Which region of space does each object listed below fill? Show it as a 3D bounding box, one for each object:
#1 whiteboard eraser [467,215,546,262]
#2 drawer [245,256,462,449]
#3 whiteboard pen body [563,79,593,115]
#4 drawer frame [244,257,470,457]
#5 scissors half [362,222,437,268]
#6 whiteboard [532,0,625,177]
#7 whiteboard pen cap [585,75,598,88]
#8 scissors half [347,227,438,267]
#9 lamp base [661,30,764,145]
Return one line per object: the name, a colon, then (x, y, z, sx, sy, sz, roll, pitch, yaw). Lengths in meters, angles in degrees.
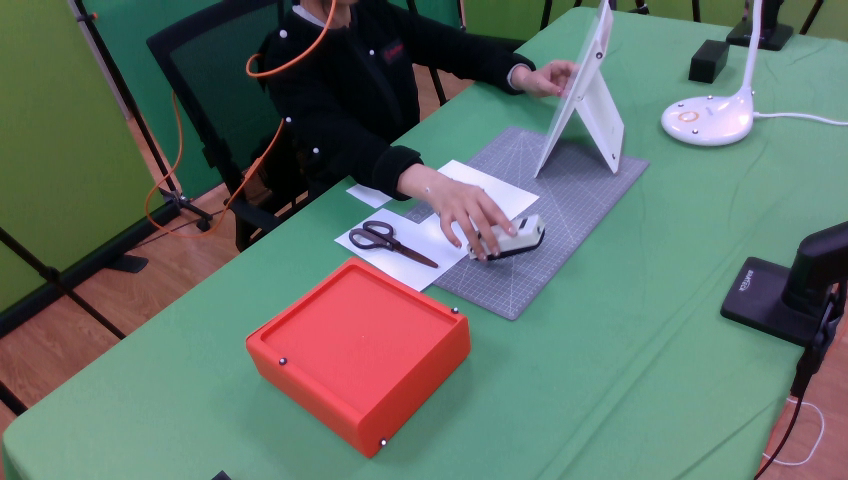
whiteboard eraser: (0.122, 0.001, 0.893, 0.112, 0.042, 0.055, -14, 29, 31)
drawer: (-0.089, 0.136, 0.792, 0.210, 0.073, 0.195, 27, 51, 34)
whiteboard pen body: (0.328, -0.306, 1.278, 0.017, 0.017, 0.141, 20, 51, 30)
drawer frame: (-0.084, 0.138, 0.788, 0.212, 0.083, 0.202, 25, 50, 33)
scissors half: (-0.040, 0.008, 0.989, 0.040, 0.013, 0.173, -19, 38, -37)
whiteboard: (0.320, -0.258, 1.050, 0.144, 0.306, 0.217, 21, 45, 5)
whiteboard pen cap: (0.362, -0.343, 1.310, 0.018, 0.018, 0.033, 19, 54, 29)
scissors half: (-0.053, 0.015, 0.975, 0.174, 0.013, 0.040, 19, 37, 23)
lamp base: (0.535, -0.287, 1.096, 0.179, 0.181, 0.159, -10, 40, -4)
